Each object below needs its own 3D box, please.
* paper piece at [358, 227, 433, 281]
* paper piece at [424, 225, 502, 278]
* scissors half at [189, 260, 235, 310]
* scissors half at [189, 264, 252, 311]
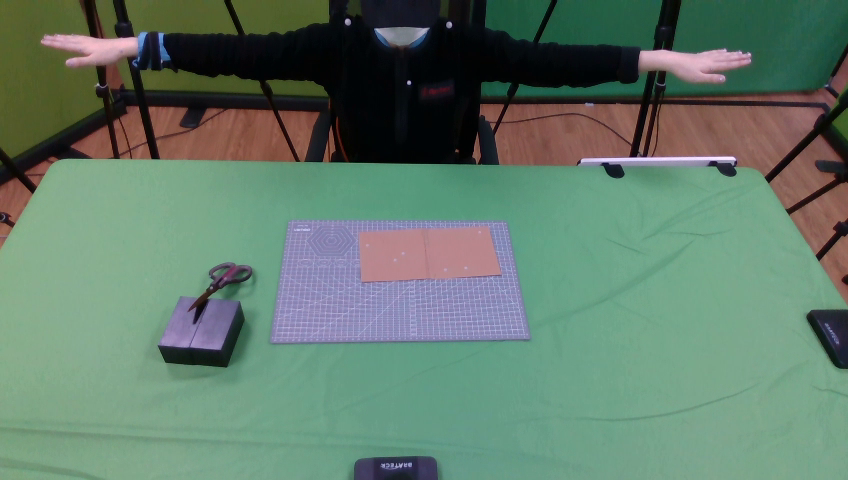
[{"bbox_3d":[-0.058,0.025,1.173,0.136,0.004,0.134,-3,47,-6],"label":"paper piece"},{"bbox_3d":[0.074,0.020,1.190,0.138,0.009,0.135,-2,50,-7],"label":"paper piece"},{"bbox_3d":[-0.372,0.077,1.056,0.040,0.013,0.174,12,25,-4],"label":"scissors half"},{"bbox_3d":[-0.352,0.082,1.055,0.040,0.013,0.175,15,25,14],"label":"scissors half"}]
